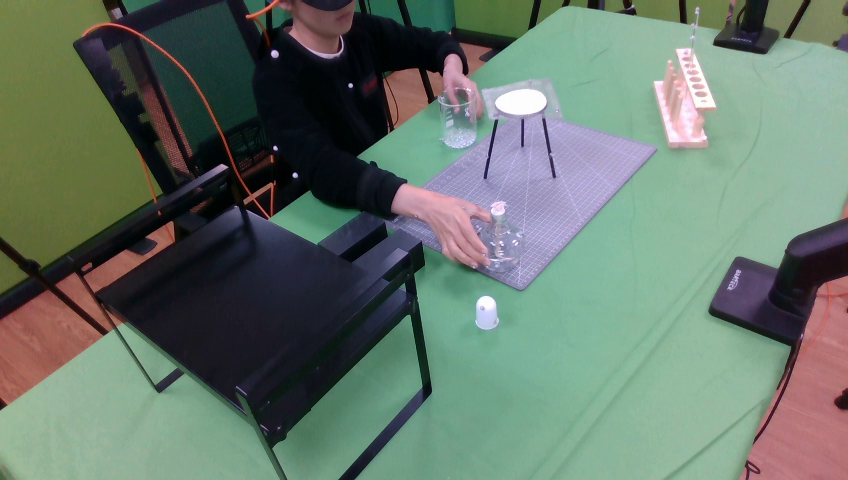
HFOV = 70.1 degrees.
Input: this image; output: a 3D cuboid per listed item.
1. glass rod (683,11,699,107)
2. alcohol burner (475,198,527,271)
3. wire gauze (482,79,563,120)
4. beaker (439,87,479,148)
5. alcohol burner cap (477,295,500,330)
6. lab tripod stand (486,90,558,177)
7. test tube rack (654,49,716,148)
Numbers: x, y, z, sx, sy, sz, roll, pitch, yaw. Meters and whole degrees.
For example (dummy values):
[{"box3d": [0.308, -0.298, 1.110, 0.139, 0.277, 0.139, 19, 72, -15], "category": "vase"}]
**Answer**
[{"box3d": [0.501, -0.335, 1.138, 0.008, 0.201, 0.008, -7, 45, 7], "category": "glass rod"}, {"box3d": [0.113, -0.012, 0.897, 0.078, 0.119, 0.077, -6, 40, 5], "category": "alcohol burner"}, {"box3d": [0.166, -0.239, 1.035, 0.125, 0.011, 0.121, -5, 42, 3], "category": "wire gauze"}, {"box3d": [0.072, -0.239, 1.184, 0.073, 0.101, 0.084, 29, 52, 35], "category": "beaker"}, {"box3d": [0.089, 0.097, 0.833, 0.034, 0.048, 0.033, -4, 42, 4], "category": "alcohol burner cap"}, {"box3d": [0.173, -0.185, 1.075, 0.148, 0.132, 0.147, -5, 43, 5], "category": "lab tripod stand"}, {"box3d": [0.502, -0.281, 1.176, 0.066, 0.085, 0.241, 2, 41, 11], "category": "test tube rack"}]
